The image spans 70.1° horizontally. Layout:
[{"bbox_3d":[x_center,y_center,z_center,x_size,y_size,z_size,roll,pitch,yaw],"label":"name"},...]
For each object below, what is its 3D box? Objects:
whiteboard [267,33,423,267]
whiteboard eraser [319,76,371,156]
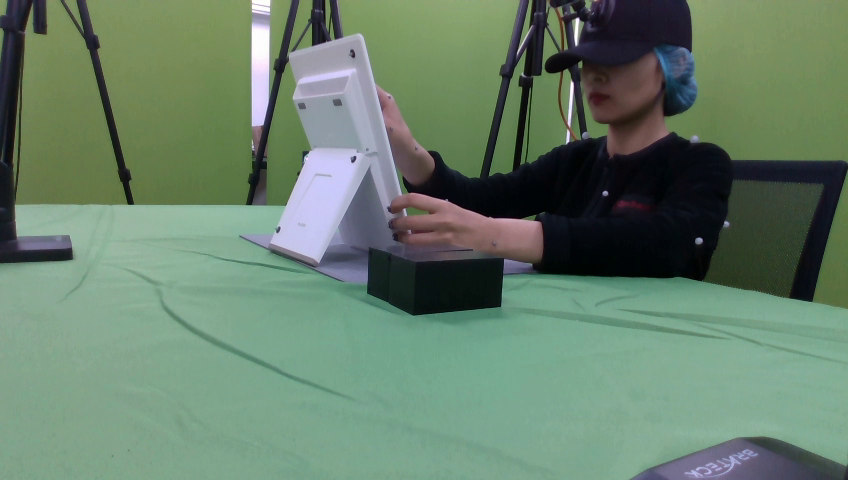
[{"bbox_3d":[-0.153,-0.097,0.818,0.144,0.305,0.216,-25,21,-29],"label":"whiteboard"},{"bbox_3d":[-0.116,-0.176,0.872,0.042,0.113,0.055,-26,18,-24],"label":"whiteboard eraser"}]
